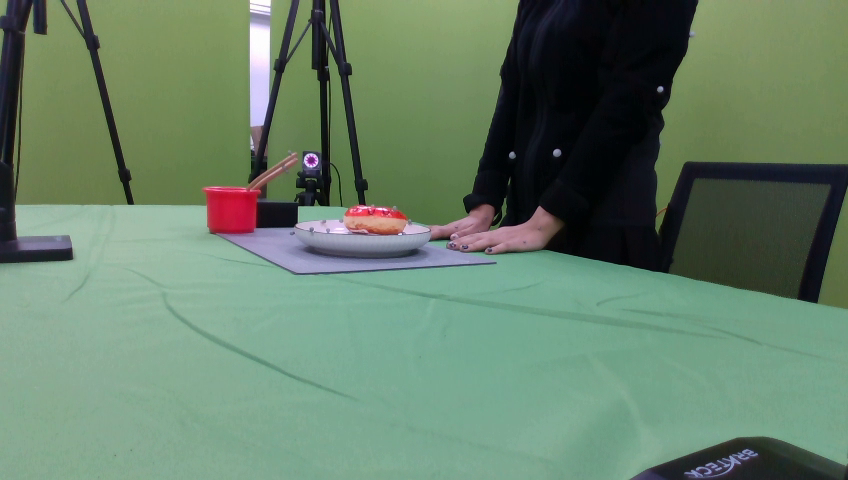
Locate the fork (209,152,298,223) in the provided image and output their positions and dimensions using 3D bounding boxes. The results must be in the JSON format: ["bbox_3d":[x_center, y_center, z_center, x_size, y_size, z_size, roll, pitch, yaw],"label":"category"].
[{"bbox_3d":[-0.296,-0.088,1.044,0.207,0.018,0.028,-38,10,16],"label":"fork"}]

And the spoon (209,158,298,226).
[{"bbox_3d":[-0.303,-0.086,1.082,0.194,0.022,0.041,-44,24,-8],"label":"spoon"}]

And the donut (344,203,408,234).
[{"bbox_3d":[-0.073,-0.031,0.931,0.099,0.048,0.099,4,3,0],"label":"donut"}]

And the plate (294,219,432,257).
[{"bbox_3d":[-0.092,-0.004,0.924,0.209,0.038,0.209,2,7,0],"label":"plate"}]

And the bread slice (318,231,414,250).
[{"bbox_3d":[-0.093,0.000,0.915,0.132,0.019,0.104,0,6,-26],"label":"bread slice"}]
